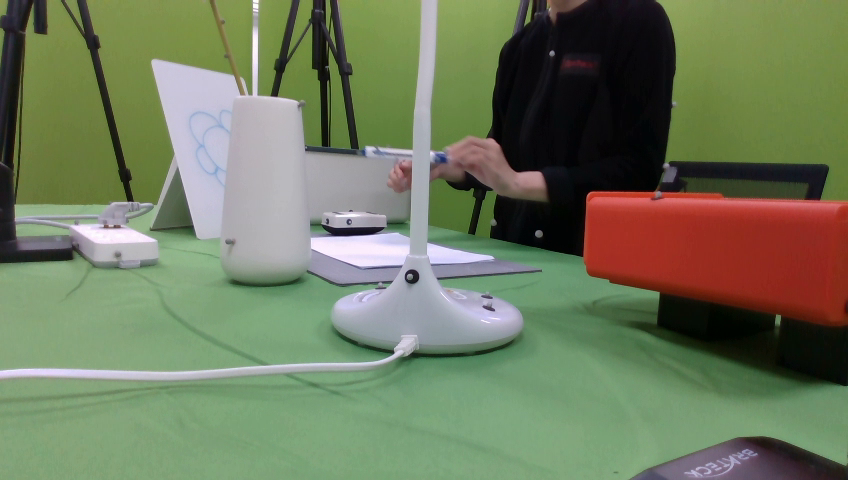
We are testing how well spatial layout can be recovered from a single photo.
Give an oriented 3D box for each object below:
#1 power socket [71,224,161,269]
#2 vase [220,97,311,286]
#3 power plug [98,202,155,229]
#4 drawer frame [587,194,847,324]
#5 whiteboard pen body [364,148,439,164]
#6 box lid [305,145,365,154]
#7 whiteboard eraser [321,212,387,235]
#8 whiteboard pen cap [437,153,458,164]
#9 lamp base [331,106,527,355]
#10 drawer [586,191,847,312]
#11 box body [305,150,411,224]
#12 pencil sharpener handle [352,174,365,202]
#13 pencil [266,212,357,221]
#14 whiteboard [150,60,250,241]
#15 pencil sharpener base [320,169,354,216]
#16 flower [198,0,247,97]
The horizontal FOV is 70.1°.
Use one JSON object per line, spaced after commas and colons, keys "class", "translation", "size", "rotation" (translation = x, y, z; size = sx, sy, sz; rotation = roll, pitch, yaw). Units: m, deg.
{"class": "power socket", "translation": [-0.408, 0.004, 0.793], "size": [0.072, 0.032, 0.225], "rotation": [-2, 8, -38]}
{"class": "vase", "translation": [-0.172, -0.052, 0.662], "size": [0.098, 0.200, 0.098], "rotation": [3, 8, 0]}
{"class": "power plug", "translation": [-0.416, -0.027, 0.848], "size": [0.073, 0.052, 0.035], "rotation": [0, 8, -28]}
{"class": "drawer frame", "translation": [0.285, 0.004, 0.508], "size": [0.203, 0.082, 0.212], "rotation": [-1, 6, -30]}
{"class": "whiteboard pen body", "translation": [-0.023, -0.131, 0.951], "size": [0.141, 0.017, 0.017], "rotation": [4, 7, -4]}
{"class": "box lid", "translation": [-0.228, -0.200, 1.362], "size": [0.373, 0.015, 0.262], "rotation": [-1, 8, -33]}
{"class": "whiteboard eraser", "translation": [-0.128, -0.031, 1.108], "size": [0.113, 0.042, 0.055], "rotation": [-3, 7, -38]}
{"class": "whiteboard pen cap", "translation": [0.036, -0.129, 0.955], "size": [0.033, 0.018, 0.018], "rotation": [2, 8, -4]}
{"class": "lamp base", "translation": [0.006, -0.012, 0.478], "size": [0.161, 0.180, 0.179], "rotation": [2, 10, 2]}
{"class": "drawer", "translation": [0.281, 0.001, 0.513], "size": [0.195, 0.073, 0.210], "rotation": [-1, 8, -29]}
{"class": "box body", "translation": [-0.230, -0.126, 1.371], "size": [0.366, 0.160, 0.253], "rotation": [-2, 8, -33]}
{"class": "pencil sharpener handle", "translation": [-0.156, -0.125, 1.450], "size": [0.031, 0.068, 0.036], "rotation": [1, 20, -11]}
{"class": "pencil", "translation": [-0.244, -0.049, 1.319], "size": [0.195, 0.012, 0.012], "rotation": [3, 7, -12]}
{"class": "whiteboard", "translation": [-0.408, -0.139, 1.093], "size": [0.143, 0.305, 0.218], "rotation": [-15, -1, 26]}
{"class": "pencil sharpener base", "translation": [-0.207, -0.113, 1.439], "size": [0.077, 0.107, 0.061], "rotation": [1, 6, -11]}
{"class": "flower", "translation": [-0.187, -0.133, 0.648], "size": [0.038, 0.362, 0.044], "rotation": [-1, 21, 43]}
